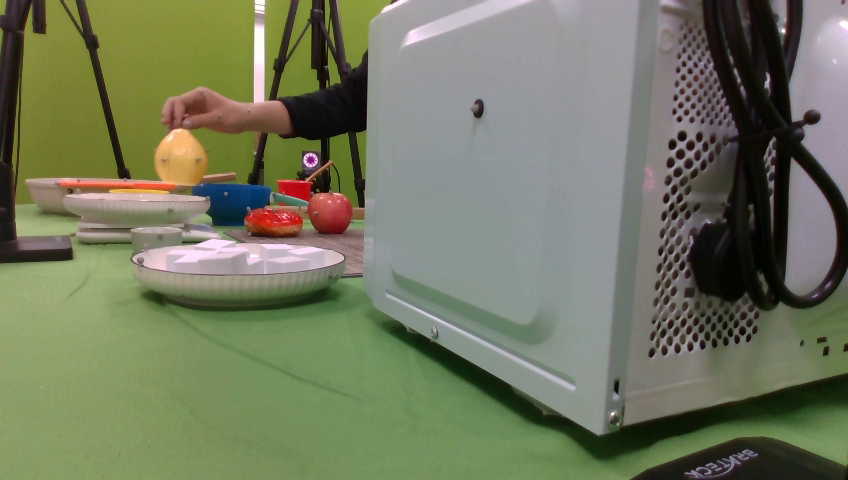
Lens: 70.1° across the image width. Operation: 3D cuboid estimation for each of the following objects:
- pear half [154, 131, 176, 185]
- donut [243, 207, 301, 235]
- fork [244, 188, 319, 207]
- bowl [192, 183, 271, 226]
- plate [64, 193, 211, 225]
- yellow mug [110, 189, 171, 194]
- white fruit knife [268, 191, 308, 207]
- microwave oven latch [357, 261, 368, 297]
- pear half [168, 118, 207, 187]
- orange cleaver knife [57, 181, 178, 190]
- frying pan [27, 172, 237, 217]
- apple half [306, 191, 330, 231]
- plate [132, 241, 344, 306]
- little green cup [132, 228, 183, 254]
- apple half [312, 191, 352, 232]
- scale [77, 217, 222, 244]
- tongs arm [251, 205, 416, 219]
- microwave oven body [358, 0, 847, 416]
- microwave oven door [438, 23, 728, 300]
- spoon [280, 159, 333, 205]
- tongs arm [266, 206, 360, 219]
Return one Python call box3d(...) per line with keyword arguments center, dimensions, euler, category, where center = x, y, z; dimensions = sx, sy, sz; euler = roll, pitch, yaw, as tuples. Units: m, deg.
box3d(center=(-0.414, -0.132, 0.967), dimensions=(0.031, 0.088, 0.070), euler=(4, 6, -20), category="pear half")
box3d(center=(-0.262, -0.032, 1.043), dimensions=(0.099, 0.048, 0.099), euler=(4, 9, 0), category="donut")
box3d(center=(-0.356, -0.105, 1.526), dimensions=(0.208, 0.018, 0.028), euler=(16, -5, -41), category="fork")
box3d(center=(-0.382, -0.071, 1.202), dimensions=(0.151, 0.077, 0.151), euler=(3, 7, 0), category="bowl")
box3d(center=(-0.446, -0.050, 0.952), dimensions=(0.209, 0.038, 0.209), euler=(2, 7, 0), category="plate")
box3d(center=(-0.519, -0.055, 1.080), dimensions=(0.099, 0.064, 0.131), euler=(7, 9, 26), category="yellow mug")
box3d(center=(-0.364, -0.105, 1.464), dimensions=(0.208, 0.027, 0.016), euler=(15, -1, -34), category="white fruit knife")
box3d(center=(-0.019, 0.033, 0.530), dimensions=(0.079, 0.029, 0.030), euler=(-1, 7, -26), category="microwave oven latch")
box3d(center=(-0.379, -0.140, 0.976), dimensions=(0.056, 0.109, 0.076), euler=(3, 7, -19), category="pear half")
box3d(center=(-0.600, -0.109, 1.189), dimensions=(0.212, 0.012, 0.077), euler=(-1, 11, -26), category="orange cleaver knife")
box3d(center=(-0.624, -0.118, 1.387), dimensions=(0.305, 0.102, 0.490), euler=(8, 17, 32), category="frying pan")
box3d(center=(-0.197, -0.055, 1.114), dimensions=(0.032, 0.081, 0.081), euler=(9, 9, 21), category="apple half")
box3d(center=(-0.187, 0.033, 0.625), dimensions=(0.208, 0.039, 0.207), euler=(2, 7, 0), category="plate")
box3d(center=(-0.342, 0.006, 0.779), dimensions=(0.061, 0.038, 0.061), euler=(2, 8, 0), category="little green cup")
box3d(center=(-0.160, -0.050, 1.101), dimensions=(0.053, 0.074, 0.081), euler=(9, 7, 22), category="apple half")
box3d(center=(-0.434, -0.018, 0.963), dimensions=(0.202, 0.031, 0.148), euler=(-1, 8, -27), category="scale")
box3d(center=(-0.210, -0.067, 1.440), dimensions=(0.389, 0.027, 0.028), euler=(0, -2, -17), category="tongs arm")
box3d(center=(0.211, -0.047, 0.474), dimensions=(0.444, 0.260, 0.324), euler=(-1, 7, -28), category="microwave oven body")
box3d(center=(0.181, -0.073, 0.621), dimensions=(0.358, 0.243, 0.039), euler=(-2, 8, -29), category="microwave oven door")
box3d(center=(-0.316, -0.159, 1.640), dimensions=(0.194, 0.022, 0.041), euler=(-49, 32, -20), category="spoon")
box3d(center=(-0.173, -0.061, 1.362), dimensions=(0.387, 0.026, 0.050), euler=(-1, 2, -31), category="tongs arm")
